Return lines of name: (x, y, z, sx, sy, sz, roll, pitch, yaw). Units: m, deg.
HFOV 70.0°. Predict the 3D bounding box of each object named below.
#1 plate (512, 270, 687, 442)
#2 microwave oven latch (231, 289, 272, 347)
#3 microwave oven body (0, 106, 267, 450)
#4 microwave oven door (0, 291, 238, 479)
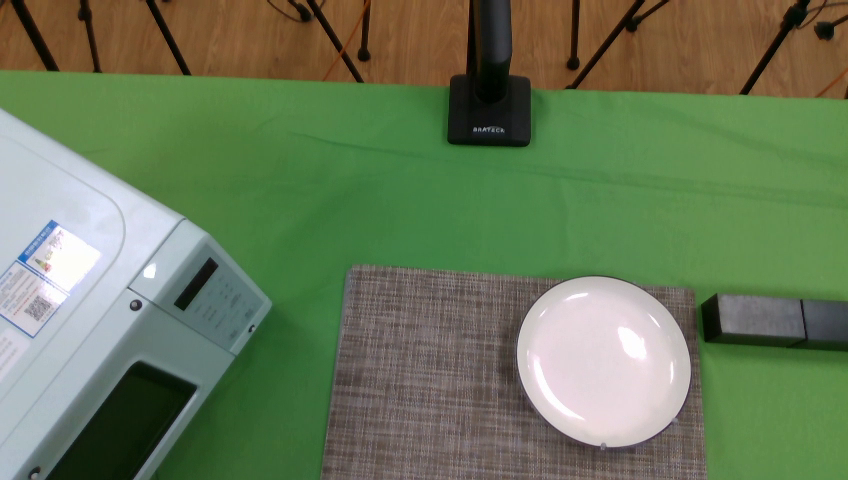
plate: (0.210, 0.140, 0.740, 0.208, 0.039, 0.206, 0, 69, 1)
microwave oven latch: (-0.221, 0.092, 0.752, 0.030, 0.030, 0.079, 31, 73, 12)
microwave oven body: (-0.442, 0.130, 0.639, 0.325, 0.262, 0.440, 29, 73, 11)
microwave oven door: (-0.338, 0.230, 0.593, 0.039, 0.245, 0.354, 28, 72, 13)
